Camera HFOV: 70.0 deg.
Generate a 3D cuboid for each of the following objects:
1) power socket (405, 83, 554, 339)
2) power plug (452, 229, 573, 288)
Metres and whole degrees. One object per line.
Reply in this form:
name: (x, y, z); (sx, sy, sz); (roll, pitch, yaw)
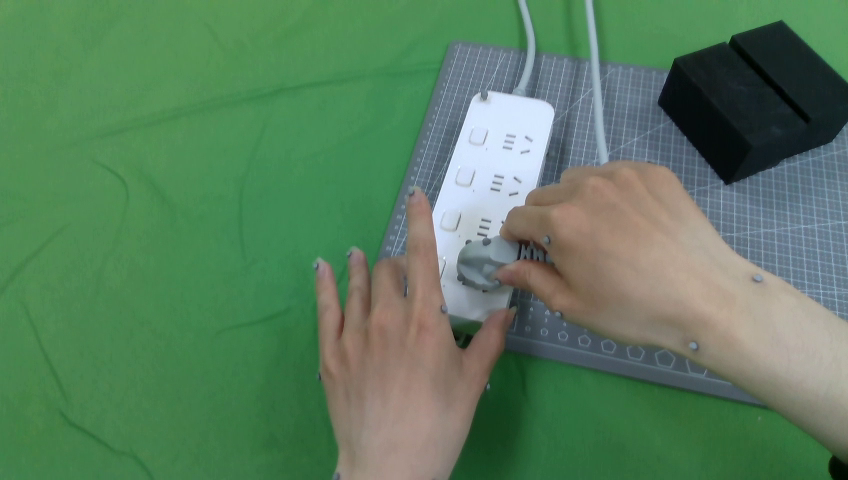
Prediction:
power socket: (0.047, -0.033, 0.464); (0.072, 0.033, 0.225); (14, 61, 9)
power plug: (0.053, 0.020, 0.395); (0.072, 0.053, 0.035); (27, 61, 14)
